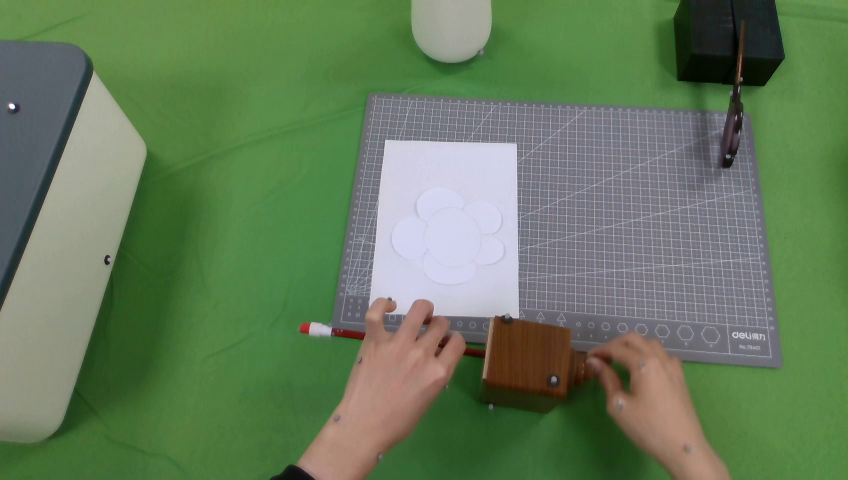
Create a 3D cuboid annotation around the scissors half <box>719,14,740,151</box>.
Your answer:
[{"bbox_3d":[0.337,-0.175,0.656,0.013,0.040,0.174,9,68,15],"label":"scissors half"}]

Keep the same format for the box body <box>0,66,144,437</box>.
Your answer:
[{"bbox_3d":[-0.458,-0.003,0.587,0.254,0.161,0.361,4,68,4],"label":"box body"}]

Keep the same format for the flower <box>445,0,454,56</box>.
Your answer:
[{"bbox_3d":[0.016,-0.344,0.602,0.044,0.365,0.038,-2,49,5],"label":"flower"}]

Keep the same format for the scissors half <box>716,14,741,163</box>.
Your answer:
[{"bbox_3d":[0.342,-0.170,0.675,0.012,0.040,0.175,8,86,20],"label":"scissors half"}]

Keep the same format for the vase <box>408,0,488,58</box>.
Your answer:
[{"bbox_3d":[0.025,-0.299,0.674,0.098,0.201,0.097,-1,66,3],"label":"vase"}]

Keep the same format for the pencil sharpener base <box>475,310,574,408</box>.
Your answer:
[{"bbox_3d":[0.089,0.111,0.552,0.076,0.108,0.061,8,67,6],"label":"pencil sharpener base"}]

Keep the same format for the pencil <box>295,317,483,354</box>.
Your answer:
[{"bbox_3d":[-0.018,0.086,0.534,0.194,0.012,0.012,8,68,3],"label":"pencil"}]

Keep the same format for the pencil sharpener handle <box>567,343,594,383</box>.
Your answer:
[{"bbox_3d":[0.140,0.108,0.537,0.030,0.068,0.036,8,90,6],"label":"pencil sharpener handle"}]

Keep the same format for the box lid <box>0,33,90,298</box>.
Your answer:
[{"bbox_3d":[-0.461,-0.035,0.519,0.263,0.015,0.369,4,67,3],"label":"box lid"}]
